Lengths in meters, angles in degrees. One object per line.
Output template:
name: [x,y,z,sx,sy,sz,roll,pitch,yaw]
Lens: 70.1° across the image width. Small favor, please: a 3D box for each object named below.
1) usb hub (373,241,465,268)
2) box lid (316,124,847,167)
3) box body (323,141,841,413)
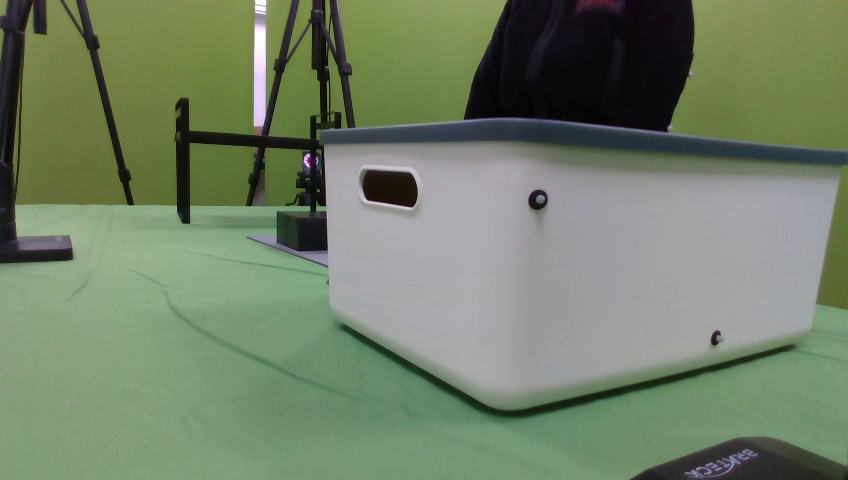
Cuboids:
usb hub: [-0.005,0.018,0.826,0.126,0.025,0.049,-3,9,-39]
box lid: [0.127,-0.072,0.491,0.373,0.015,0.262,-2,9,-33]
box body: [0.123,0.001,0.499,0.366,0.160,0.253,-2,9,-33]
